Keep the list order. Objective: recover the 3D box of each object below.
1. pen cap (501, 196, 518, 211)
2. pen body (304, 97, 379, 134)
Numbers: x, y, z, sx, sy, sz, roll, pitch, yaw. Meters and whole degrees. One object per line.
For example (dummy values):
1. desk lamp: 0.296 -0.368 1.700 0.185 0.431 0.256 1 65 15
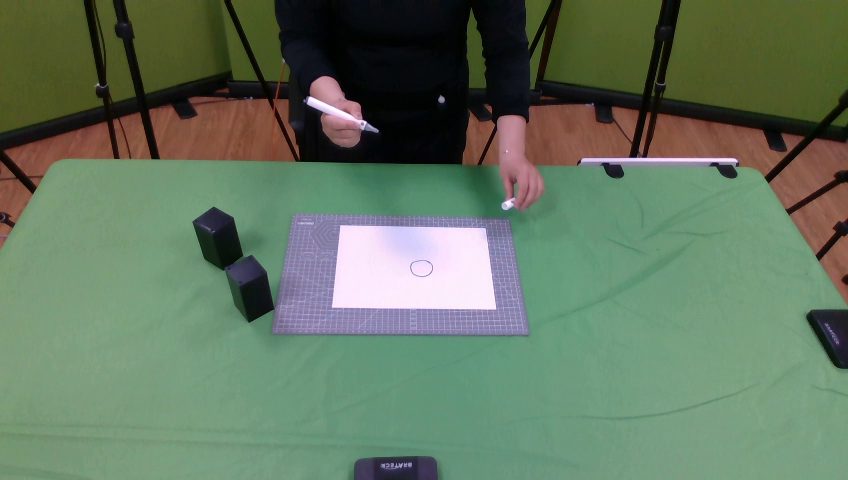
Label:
1. pen cap: 0.171 -0.075 1.209 0.017 0.017 0.038 35 55 27
2. pen body: -0.146 -0.221 1.084 0.144 0.017 0.017 24 47 -1
